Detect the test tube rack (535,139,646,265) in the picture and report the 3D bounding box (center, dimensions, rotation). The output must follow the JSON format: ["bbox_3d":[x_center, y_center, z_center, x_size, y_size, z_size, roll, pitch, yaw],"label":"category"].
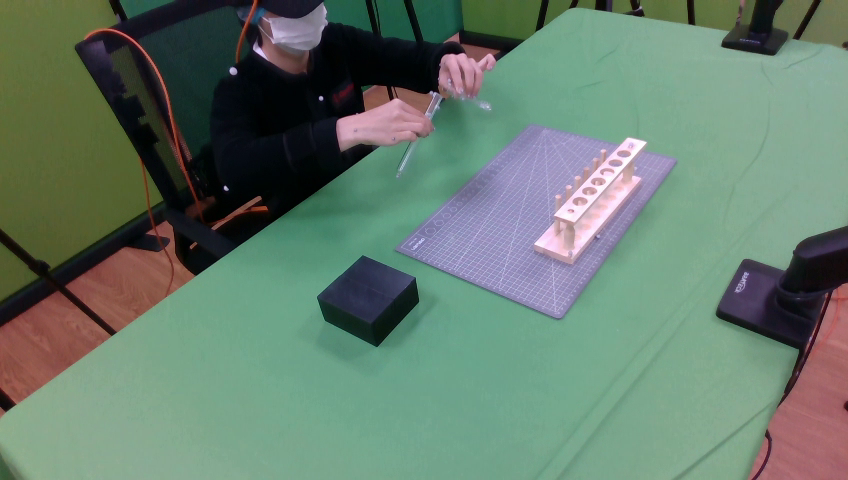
[{"bbox_3d":[0.269,-0.071,0.964,0.066,0.085,0.243,23,49,32],"label":"test tube rack"}]

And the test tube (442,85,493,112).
[{"bbox_3d":[0.080,-0.248,1.066,0.017,0.017,0.152,27,14,35],"label":"test tube"}]

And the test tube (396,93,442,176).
[{"bbox_3d":[-0.009,-0.175,1.012,0.017,0.150,0.017,27,10,-4],"label":"test tube"}]
